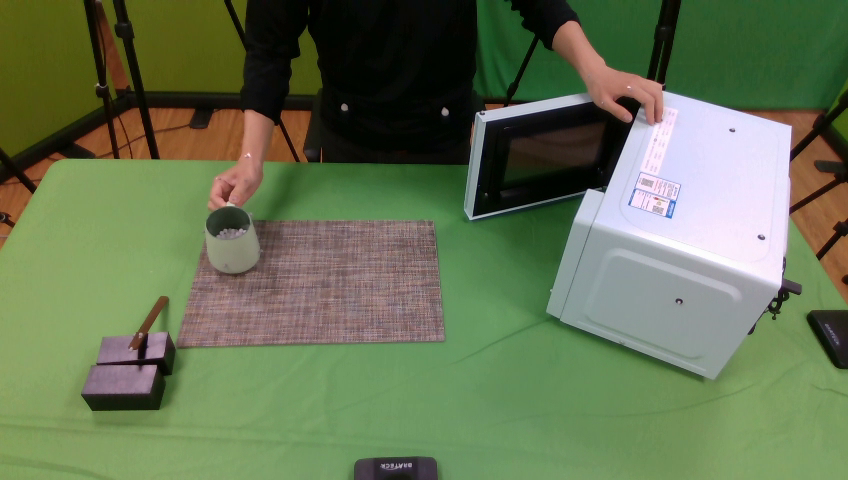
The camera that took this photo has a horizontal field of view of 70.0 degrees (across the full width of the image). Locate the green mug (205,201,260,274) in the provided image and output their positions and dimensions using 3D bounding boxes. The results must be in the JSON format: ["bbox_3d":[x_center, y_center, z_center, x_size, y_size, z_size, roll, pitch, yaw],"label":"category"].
[{"bbox_3d":[-0.352,-0.012,1.111,0.092,0.105,0.124,-4,53,-11],"label":"green mug"}]

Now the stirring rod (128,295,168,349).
[{"bbox_3d":[-0.451,0.131,0.996,0.014,0.006,0.175,9,20,-10],"label":"stirring rod"}]

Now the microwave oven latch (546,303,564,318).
[{"bbox_3d":[0.242,0.102,1.081,0.030,0.029,0.079,21,48,17],"label":"microwave oven latch"}]

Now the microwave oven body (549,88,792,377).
[{"bbox_3d":[0.456,-0.028,1.088,0.325,0.261,0.440,20,47,16],"label":"microwave oven body"}]

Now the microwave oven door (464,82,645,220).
[{"bbox_3d":[0.258,-0.176,1.208,0.356,0.245,0.039,-14,48,-16],"label":"microwave oven door"}]
